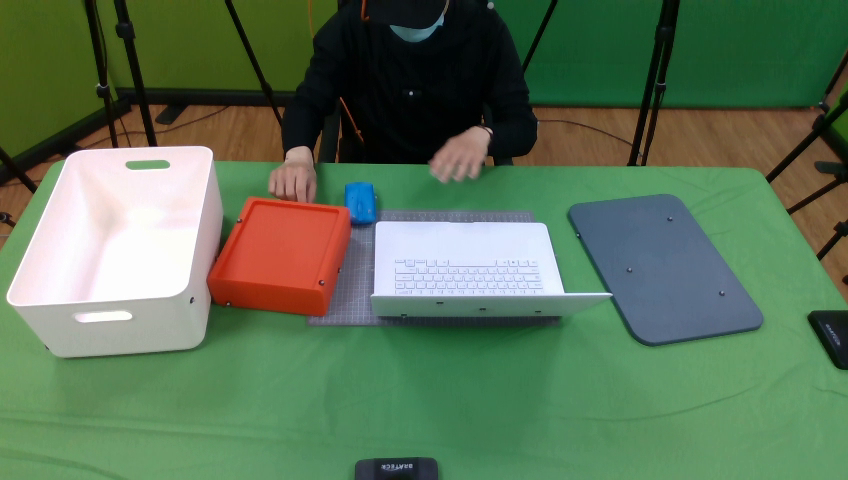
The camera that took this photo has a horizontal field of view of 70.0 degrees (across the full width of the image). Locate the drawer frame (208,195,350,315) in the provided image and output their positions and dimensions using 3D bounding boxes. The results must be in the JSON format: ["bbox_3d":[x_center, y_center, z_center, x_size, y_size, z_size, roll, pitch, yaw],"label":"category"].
[{"bbox_3d":[-0.255,0.023,1.112,0.202,0.083,0.212,6,47,3],"label":"drawer frame"}]

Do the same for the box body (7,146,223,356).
[{"bbox_3d":[-0.499,0.012,1.051,0.254,0.161,0.361,-3,47,-7],"label":"box body"}]

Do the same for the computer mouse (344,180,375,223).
[{"bbox_3d":[-0.135,-0.083,1.252,0.063,0.041,0.116,0,47,-7],"label":"computer mouse"}]

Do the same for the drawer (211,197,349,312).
[{"bbox_3d":[-0.255,0.022,1.114,0.194,0.073,0.210,7,47,3],"label":"drawer"}]

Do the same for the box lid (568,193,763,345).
[{"bbox_3d":[0.464,0.040,1.203,0.264,0.015,0.369,-7,47,-11],"label":"box lid"}]

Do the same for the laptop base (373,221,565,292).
[{"bbox_3d":[0.080,0.049,1.159,0.355,0.023,0.234,0,43,-4],"label":"laptop base"}]

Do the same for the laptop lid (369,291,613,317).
[{"bbox_3d":[0.092,0.104,0.965,0.357,0.242,0.013,0,76,-5],"label":"laptop lid"}]
